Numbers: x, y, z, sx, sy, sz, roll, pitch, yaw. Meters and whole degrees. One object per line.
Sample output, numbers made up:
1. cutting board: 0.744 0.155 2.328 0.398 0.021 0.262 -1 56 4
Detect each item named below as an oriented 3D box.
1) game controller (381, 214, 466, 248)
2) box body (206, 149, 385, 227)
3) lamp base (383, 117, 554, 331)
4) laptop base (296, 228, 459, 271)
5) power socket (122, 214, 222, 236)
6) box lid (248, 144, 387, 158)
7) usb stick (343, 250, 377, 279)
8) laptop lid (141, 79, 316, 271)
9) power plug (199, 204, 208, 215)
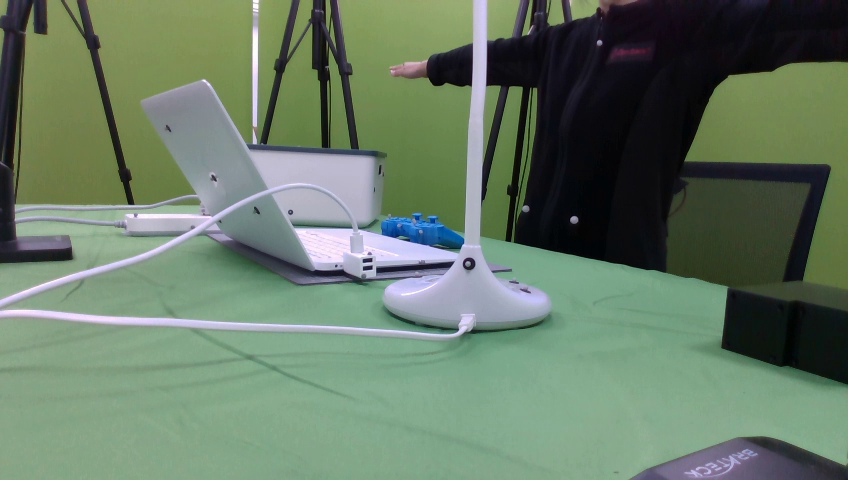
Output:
1. game controller: -0.006 -0.017 1.039 0.097 0.051 0.154 -5 10 -33
2. box body: -0.276 -0.124 1.334 0.364 0.160 0.254 3 7 1
3. lamp base: 0.045 -0.019 0.547 0.161 0.180 0.179 2 10 -4
4. laptop base: -0.122 0.011 0.889 0.237 0.023 0.352 2 6 -35
5. power socket: -0.399 -0.028 1.049 0.228 0.032 0.072 -3 8 -34
6. box lid: -0.275 -0.197 1.326 0.372 0.015 0.263 4 8 1
7. usb stick: -0.076 0.026 0.687 0.021 0.027 0.059 -8 9 -31
8. laptop lid: -0.265 -0.082 0.775 0.013 0.242 0.355 -37 28 -25
9. power plug: -0.387 -0.055 1.089 0.035 0.052 0.072 -1 6 -22
